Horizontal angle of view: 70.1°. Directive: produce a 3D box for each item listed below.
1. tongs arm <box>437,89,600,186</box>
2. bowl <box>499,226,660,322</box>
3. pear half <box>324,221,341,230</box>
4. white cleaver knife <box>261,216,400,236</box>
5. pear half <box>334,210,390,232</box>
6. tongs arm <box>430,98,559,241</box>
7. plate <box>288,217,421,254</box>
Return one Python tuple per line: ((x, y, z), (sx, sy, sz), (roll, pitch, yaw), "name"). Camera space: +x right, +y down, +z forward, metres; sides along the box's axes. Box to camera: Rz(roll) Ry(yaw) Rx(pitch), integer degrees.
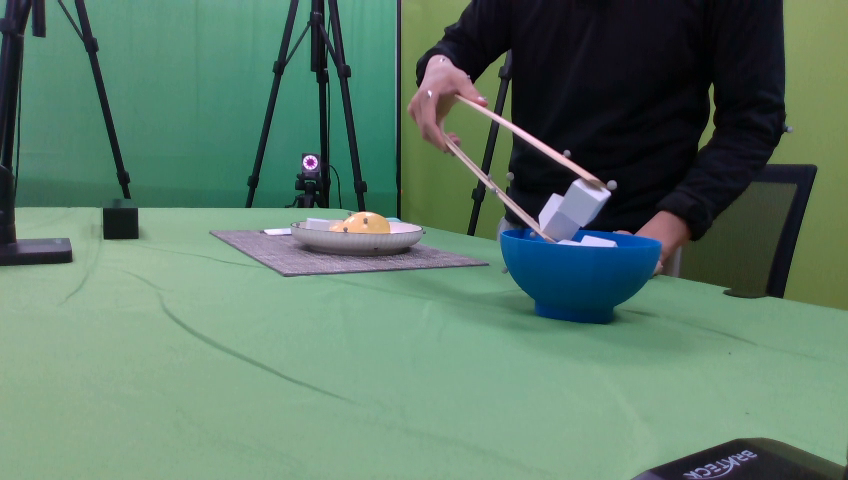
((0.094, -0.133, 0.721), (0.028, 0.028, 0.386), (16, 18, -26), "tongs arm")
((0.145, 0.032, 0.584), (0.151, 0.077, 0.151), (2, 7, 0), "bowl")
((-0.126, -0.019, 1.001), (0.088, 0.031, 0.070), (8, 4, 1), "pear half")
((-0.169, -0.021, 1.156), (0.288, 0.021, 0.065), (-7, 20, -33), "white cleaver knife")
((-0.107, -0.016, 0.920), (0.110, 0.056, 0.076), (-5, 5, -20), "pear half")
((0.075, -0.100, 0.732), (0.027, 0.050, 0.383), (20, 17, -27), "tongs arm")
((-0.109, -0.007, 0.956), (0.208, 0.039, 0.207), (2, 7, 0), "plate")
